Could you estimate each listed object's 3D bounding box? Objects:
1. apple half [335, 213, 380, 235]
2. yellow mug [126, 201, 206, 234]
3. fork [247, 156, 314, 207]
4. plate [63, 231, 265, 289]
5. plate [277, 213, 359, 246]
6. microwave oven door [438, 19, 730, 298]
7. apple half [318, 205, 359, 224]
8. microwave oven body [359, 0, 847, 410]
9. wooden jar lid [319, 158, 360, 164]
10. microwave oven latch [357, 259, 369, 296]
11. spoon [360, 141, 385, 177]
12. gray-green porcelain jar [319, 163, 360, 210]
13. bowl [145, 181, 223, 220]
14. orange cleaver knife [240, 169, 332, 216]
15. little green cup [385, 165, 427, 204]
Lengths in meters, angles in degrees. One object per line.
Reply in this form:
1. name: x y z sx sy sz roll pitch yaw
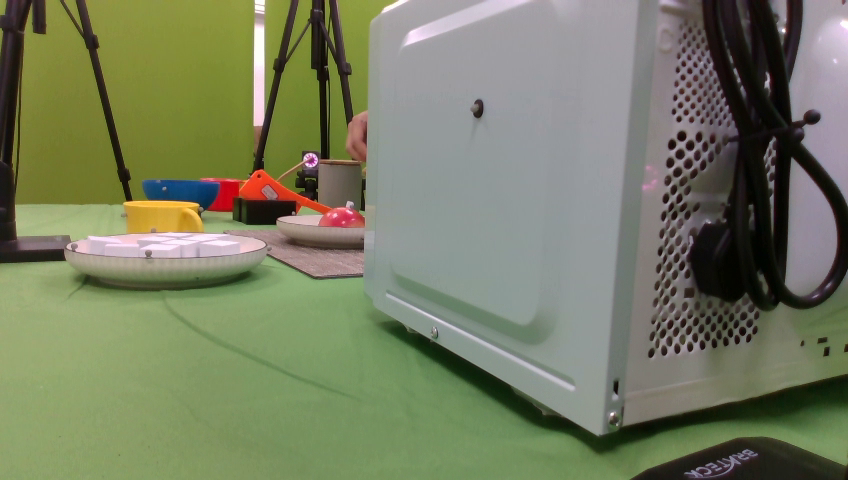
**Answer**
1. apple half: -0.112 -0.029 1.034 0.081 0.033 0.081 0 9 0
2. yellow mug: -0.360 -0.019 0.866 0.130 0.064 0.100 6 9 27
3. fork: -0.360 -0.147 1.522 0.207 0.018 0.028 -43 13 -7
4. plate: -0.288 0.021 0.687 0.208 0.039 0.207 2 8 0
5. plate: -0.135 -0.018 0.993 0.209 0.038 0.209 2 7 0
6. microwave oven door: 0.181 -0.076 0.618 0.358 0.243 0.039 -2 8 -28
7. apple half: -0.126 -0.028 0.954 0.081 0.053 0.074 -2 11 -33
8. microwave oven body: 0.210 -0.051 0.471 0.444 0.260 0.324 -1 7 -28
9. wooden jar lid: -0.203 -0.189 1.482 0.108 0.020 0.108 2 10 0
10. microwave oven latch: -0.019 0.031 0.529 0.079 0.029 0.030 -1 7 -27
11. spoon: -0.089 -0.145 1.053 0.042 0.021 0.193 6 26 -8
12. gray-green porcelain jar: -0.204 -0.126 1.489 0.106 0.126 0.106 2 7 0
13. bowl: -0.499 -0.081 1.261 0.151 0.077 0.151 2 7 0
14. orange cleaver knife: -0.286 -0.082 1.298 0.212 0.077 0.012 25 -2 -31
15. little green cup: -0.027 -0.088 0.972 0.061 0.038 0.061 -32 -13 -8
